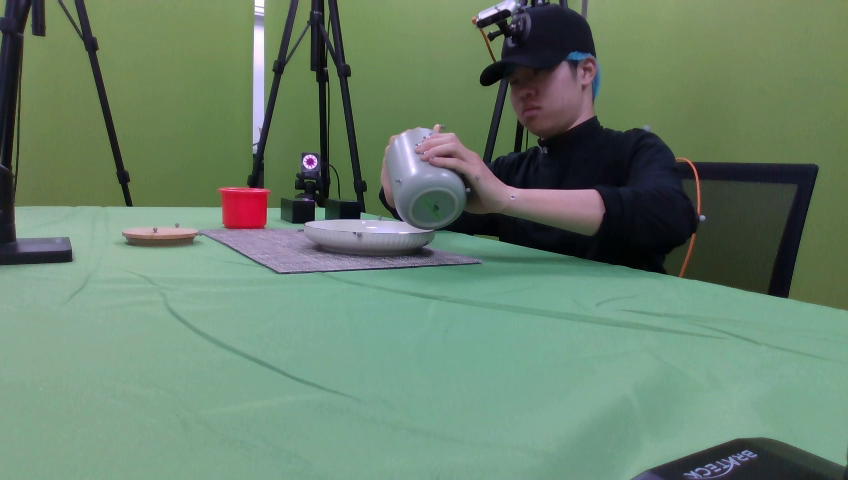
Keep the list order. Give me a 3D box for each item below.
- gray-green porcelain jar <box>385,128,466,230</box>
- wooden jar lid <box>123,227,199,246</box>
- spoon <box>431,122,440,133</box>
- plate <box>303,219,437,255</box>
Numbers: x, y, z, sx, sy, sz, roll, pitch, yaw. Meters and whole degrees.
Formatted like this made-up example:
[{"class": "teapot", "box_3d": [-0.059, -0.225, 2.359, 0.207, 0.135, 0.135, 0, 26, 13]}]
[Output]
[{"class": "gray-green porcelain jar", "box_3d": [0.002, -0.086, 0.886, 0.106, 0.106, 0.126, 1, 42, -14]}, {"class": "wooden jar lid", "box_3d": [-0.408, -0.006, 0.942, 0.108, 0.020, 0.108, 3, 6, 0]}, {"class": "spoon", "box_3d": [0.000, -0.119, 0.926, 0.041, 0.021, 0.193, 5, 46, 12]}, {"class": "plate", "box_3d": [-0.084, -0.005, 0.952, 0.208, 0.039, 0.207, 3, 7, 0]}]
